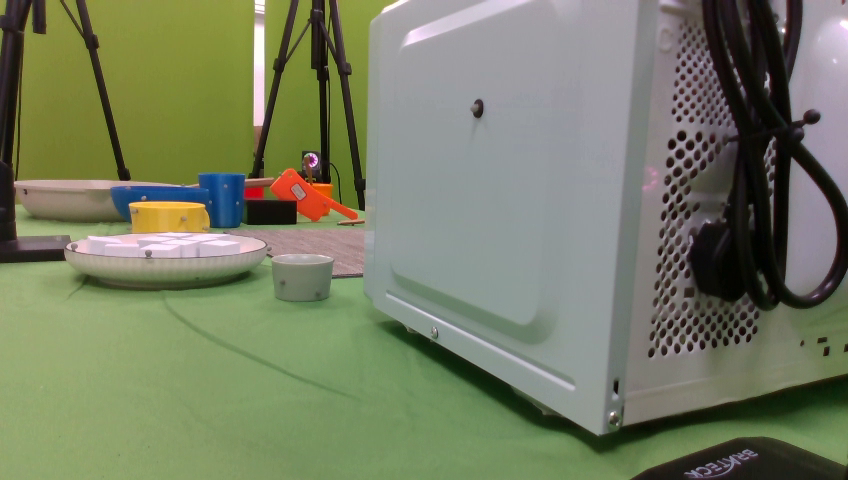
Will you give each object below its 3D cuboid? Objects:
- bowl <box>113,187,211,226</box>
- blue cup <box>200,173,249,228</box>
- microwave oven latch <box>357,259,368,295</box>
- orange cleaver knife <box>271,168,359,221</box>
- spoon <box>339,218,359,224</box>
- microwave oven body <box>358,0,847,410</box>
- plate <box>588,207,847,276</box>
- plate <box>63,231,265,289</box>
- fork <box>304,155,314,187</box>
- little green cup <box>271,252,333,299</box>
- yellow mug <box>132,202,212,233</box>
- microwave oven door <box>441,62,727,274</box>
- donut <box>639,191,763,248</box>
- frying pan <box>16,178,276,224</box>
[{"bbox_3d":[-0.436,-0.046,1.013,0.151,0.077,0.151,2,7,0],"label":"bowl"},{"bbox_3d":[-0.381,-0.076,1.155,0.093,0.100,0.092,0,8,0],"label":"blue cup"},{"bbox_3d":[-0.019,0.031,0.529,0.079,0.029,0.030,-1,7,-26],"label":"microwave oven latch"},{"bbox_3d":[-0.236,-0.084,1.333,0.212,0.077,0.012,31,-9,-31],"label":"orange cleaver knife"},{"bbox_3d":[-0.087,-0.041,1.268,0.193,0.021,0.041,4,20,13],"label":"spoon"},{"bbox_3d":[0.210,-0.051,0.471,0.444,0.260,0.324,-1,7,-28],"label":"microwave oven body"},{"bbox_3d":[0.245,-0.001,0.511,0.209,0.038,0.209,2,8,0],"label":"plate"},{"bbox_3d":[-0.288,0.021,0.687,0.208,0.039,0.207,2,8,0],"label":"plate"},{"bbox_3d":[-0.268,-0.134,1.447,0.028,0.018,0.207,2,-36,-1],"label":"fork"},{"bbox_3d":[-0.122,0.035,0.605,0.061,0.038,0.061,2,7,0],"label":"little green cup"},{"bbox_3d":[-0.356,-0.020,0.878,0.099,0.064,0.131,5,7,21],"label":"yellow mug"},{"bbox_3d":[0.188,-0.097,0.784,0.354,0.243,0.039,6,9,30],"label":"microwave oven door"},{"bbox_3d":[0.236,-0.017,0.519,0.099,0.048,0.099,4,5,0],"label":"donut"},{"bbox_3d":[-0.553,-0.097,1.266,0.490,0.102,0.305,-10,13,-24],"label":"frying pan"}]
